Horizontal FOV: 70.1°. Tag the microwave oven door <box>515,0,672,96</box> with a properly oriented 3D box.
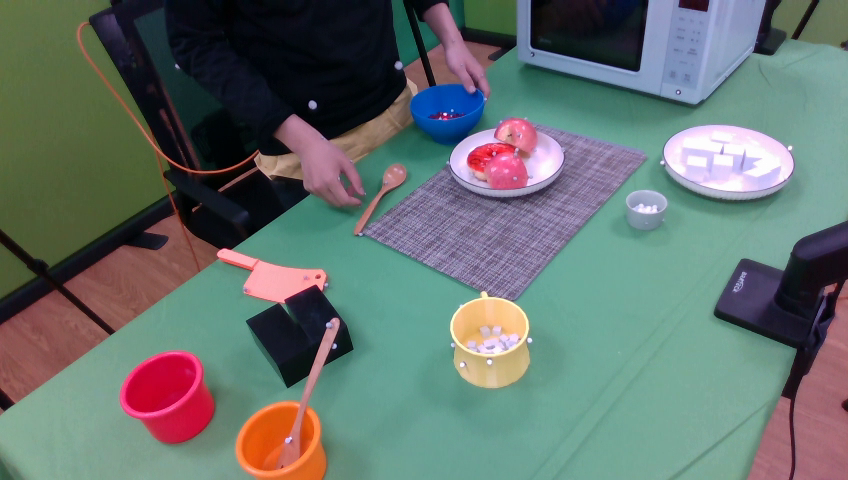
[{"bbox_3d":[0.343,-0.454,1.259,0.353,0.245,0.039,26,51,33],"label":"microwave oven door"}]

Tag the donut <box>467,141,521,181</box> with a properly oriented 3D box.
[{"bbox_3d":[0.126,-0.144,1.090,0.099,0.048,0.098,-5,39,5],"label":"donut"}]

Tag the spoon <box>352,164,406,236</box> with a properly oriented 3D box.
[{"bbox_3d":[-0.082,-0.074,1.074,0.041,0.022,0.194,20,46,12],"label":"spoon"}]

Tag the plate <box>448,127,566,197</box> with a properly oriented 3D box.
[{"bbox_3d":[0.150,-0.138,1.096,0.209,0.038,0.208,-4,40,4],"label":"plate"}]

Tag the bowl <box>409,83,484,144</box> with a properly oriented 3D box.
[{"bbox_3d":[0.048,-0.245,1.213,0.151,0.077,0.150,-4,40,4],"label":"bowl"}]

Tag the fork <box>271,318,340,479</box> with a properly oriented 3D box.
[{"bbox_3d":[-0.132,0.186,0.676,0.028,0.019,0.207,18,90,28],"label":"fork"}]

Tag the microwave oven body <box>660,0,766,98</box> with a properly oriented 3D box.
[{"bbox_3d":[0.472,-0.513,1.317,0.438,0.261,0.327,26,51,34],"label":"microwave oven body"}]

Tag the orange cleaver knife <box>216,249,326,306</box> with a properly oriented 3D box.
[{"bbox_3d":[-0.248,0.058,0.945,0.210,0.012,0.077,13,49,20],"label":"orange cleaver knife"}]

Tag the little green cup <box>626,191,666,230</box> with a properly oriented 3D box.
[{"bbox_3d":[0.352,-0.046,0.963,0.061,0.039,0.061,-4,40,4],"label":"little green cup"}]

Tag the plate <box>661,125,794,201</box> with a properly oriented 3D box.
[{"bbox_3d":[0.513,-0.128,1.035,0.207,0.039,0.206,-4,40,4],"label":"plate"}]

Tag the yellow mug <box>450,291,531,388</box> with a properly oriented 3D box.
[{"bbox_3d":[0.085,0.120,0.786,0.100,0.064,0.130,-7,39,1],"label":"yellow mug"}]

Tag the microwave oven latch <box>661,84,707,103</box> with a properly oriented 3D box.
[{"bbox_3d":[0.517,-0.296,1.204,0.078,0.029,0.030,26,52,34],"label":"microwave oven latch"}]

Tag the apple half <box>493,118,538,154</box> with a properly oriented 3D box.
[{"bbox_3d":[0.175,-0.197,1.114,0.080,0.053,0.075,29,12,34],"label":"apple half"}]

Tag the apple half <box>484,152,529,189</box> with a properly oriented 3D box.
[{"bbox_3d":[0.144,-0.116,1.032,0.081,0.033,0.081,3,77,-11],"label":"apple half"}]
